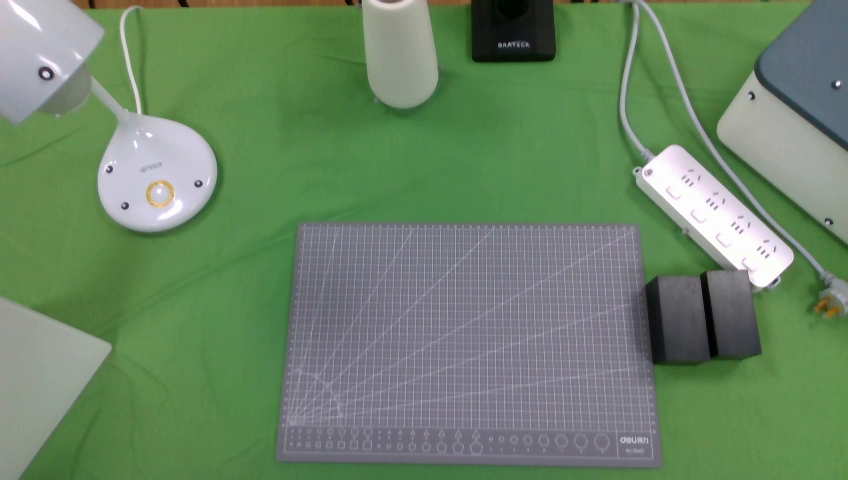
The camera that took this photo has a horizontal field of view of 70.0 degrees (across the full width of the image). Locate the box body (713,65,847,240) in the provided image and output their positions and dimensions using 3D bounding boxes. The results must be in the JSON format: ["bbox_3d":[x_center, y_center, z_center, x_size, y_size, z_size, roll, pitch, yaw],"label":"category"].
[{"bbox_3d":[0.581,-0.138,0.737,0.254,0.161,0.362,-43,76,-11],"label":"box body"}]

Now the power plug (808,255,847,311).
[{"bbox_3d":[0.493,0.058,0.756,0.053,0.035,0.072,-28,35,-5],"label":"power plug"}]

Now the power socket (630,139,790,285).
[{"bbox_3d":[0.367,-0.038,0.780,0.072,0.033,0.225,-38,75,-11],"label":"power socket"}]

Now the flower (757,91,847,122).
[{"bbox_3d":[0.630,-0.142,0.810,0.358,0.038,0.044,30,65,30],"label":"flower"}]

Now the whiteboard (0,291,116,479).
[{"bbox_3d":[-0.544,0.122,0.641,0.142,0.308,0.216,24,74,30],"label":"whiteboard"}]

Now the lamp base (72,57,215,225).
[{"bbox_3d":[-0.373,-0.130,0.751,0.160,0.181,0.178,-30,71,-8],"label":"lamp base"}]

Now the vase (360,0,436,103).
[{"bbox_3d":[-0.034,-0.262,0.775,0.098,0.201,0.097,0,71,1],"label":"vase"}]

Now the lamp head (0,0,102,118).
[{"bbox_3d":[-0.341,-0.177,0.476,0.112,0.124,0.111,-28,37,24],"label":"lamp head"}]

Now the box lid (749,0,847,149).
[{"bbox_3d":[0.580,-0.161,0.666,0.263,0.015,0.369,-43,76,-10],"label":"box lid"}]
